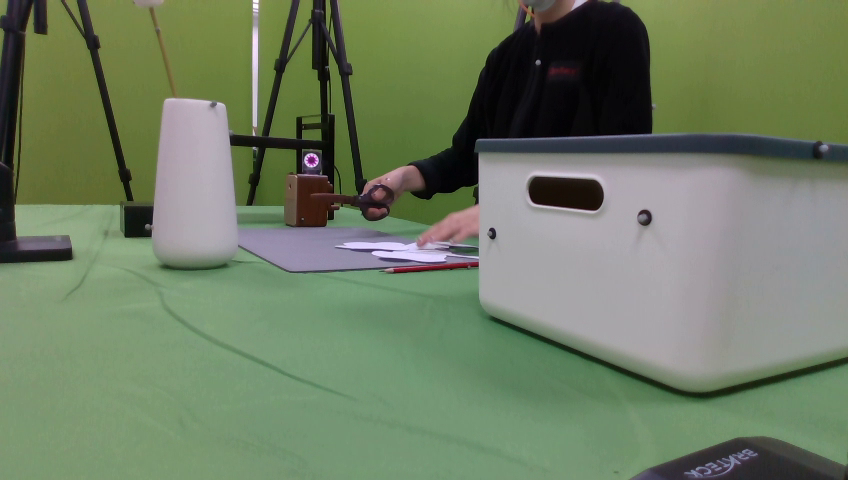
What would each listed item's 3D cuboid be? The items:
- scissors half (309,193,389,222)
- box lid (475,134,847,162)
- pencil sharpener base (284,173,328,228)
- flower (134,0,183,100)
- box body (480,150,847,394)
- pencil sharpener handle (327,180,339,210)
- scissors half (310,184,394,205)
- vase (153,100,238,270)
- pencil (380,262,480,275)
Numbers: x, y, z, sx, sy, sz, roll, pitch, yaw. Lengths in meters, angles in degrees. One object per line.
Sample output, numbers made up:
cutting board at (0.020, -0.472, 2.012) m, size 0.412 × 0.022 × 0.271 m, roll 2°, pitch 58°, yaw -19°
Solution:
scissors half at (-0.135, -0.064, 1.104) m, size 0.176 × 0.040 × 0.012 m, roll 16°, pitch 16°, yaw -42°
box lid at (0.256, -0.073, 0.528) m, size 0.373 × 0.015 × 0.262 m, roll -2°, pitch 8°, yaw -31°
pencil sharpener base at (-0.239, -0.081, 1.231) m, size 0.077 × 0.107 × 0.061 m, roll -2°, pitch 8°, yaw -36°
flower at (-0.282, -0.147, 0.713) m, size 0.038 × 0.362 × 0.044 m, roll -23°, pitch 24°, yaw -31°
box body at (0.254, 0.002, 0.539) m, size 0.366 × 0.160 × 0.253 m, roll -2°, pitch 8°, yaw -31°
pencil sharpener handle at (-0.194, -0.095, 1.256) m, size 0.031 × 0.067 × 0.036 m, roll -2°, pitch -6°, yaw -36°
scissors half at (-0.128, -0.082, 1.098) m, size 0.176 × 0.040 × 0.013 m, roll -5°, pitch 24°, yaw -37°
vase at (-0.278, -0.066, 0.736) m, size 0.098 × 0.200 × 0.098 m, roll 2°, pitch 9°, yaw 0°
pencil at (0.030, 0.037, 0.794) m, size 0.195 × 0.012 × 0.012 m, roll -3°, pitch 9°, yaw -30°
